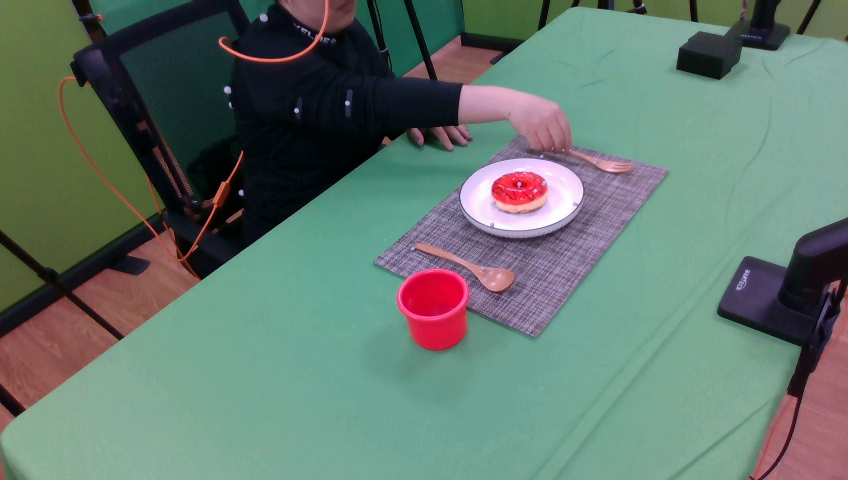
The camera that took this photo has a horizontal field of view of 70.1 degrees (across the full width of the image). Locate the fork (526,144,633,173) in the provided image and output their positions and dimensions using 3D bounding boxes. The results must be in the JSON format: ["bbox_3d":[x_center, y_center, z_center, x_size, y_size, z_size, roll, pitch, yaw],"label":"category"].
[{"bbox_3d":[0.279,-0.153,1.108,0.206,0.019,0.028,21,57,29],"label":"fork"}]

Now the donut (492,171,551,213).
[{"bbox_3d":[0.163,-0.083,1.015,0.099,0.048,0.098,-6,37,5],"label":"donut"}]

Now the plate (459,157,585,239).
[{"bbox_3d":[0.163,-0.068,1.015,0.209,0.038,0.208,-5,40,5],"label":"plate"}]

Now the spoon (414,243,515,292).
[{"bbox_3d":[0.057,0.035,0.924,0.192,0.022,0.041,24,68,34],"label":"spoon"}]
